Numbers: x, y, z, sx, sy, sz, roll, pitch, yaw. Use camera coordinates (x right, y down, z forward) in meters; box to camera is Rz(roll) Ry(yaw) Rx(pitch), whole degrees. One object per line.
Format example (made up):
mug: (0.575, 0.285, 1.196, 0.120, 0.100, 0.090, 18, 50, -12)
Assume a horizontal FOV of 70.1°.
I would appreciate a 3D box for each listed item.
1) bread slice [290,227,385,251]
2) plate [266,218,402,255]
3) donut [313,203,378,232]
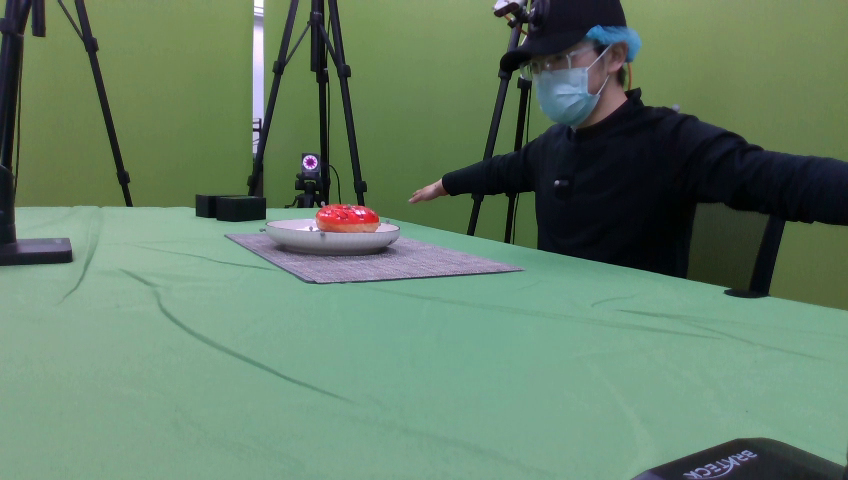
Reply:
bread slice: (-0.143, -0.004, 0.939, 0.131, 0.019, 0.105, 9, 9, 33)
plate: (-0.138, -0.006, 0.941, 0.208, 0.039, 0.207, 2, 7, 0)
donut: (-0.118, -0.030, 0.915, 0.099, 0.048, 0.099, 5, 9, -1)
